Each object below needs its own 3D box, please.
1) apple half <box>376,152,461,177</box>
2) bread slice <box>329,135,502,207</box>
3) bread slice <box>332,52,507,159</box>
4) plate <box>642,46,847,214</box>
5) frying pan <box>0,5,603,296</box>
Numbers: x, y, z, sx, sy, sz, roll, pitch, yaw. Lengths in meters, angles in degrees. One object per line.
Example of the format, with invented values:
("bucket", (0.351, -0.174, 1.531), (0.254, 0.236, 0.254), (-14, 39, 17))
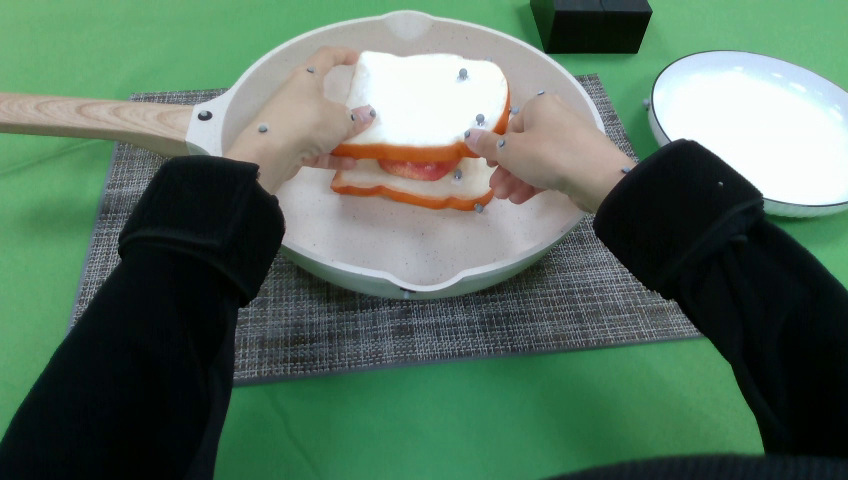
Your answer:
("apple half", (-0.005, -0.087, 0.493), (0.081, 0.033, 0.080), (1, 52, -1))
("bread slice", (-0.002, -0.073, 0.509), (0.134, 0.018, 0.106), (7, 54, 1))
("bread slice", (-0.001, -0.109, 0.475), (0.131, 0.019, 0.104), (2, 58, 13))
("plate", (0.298, -0.099, 0.548), (0.208, 0.039, 0.205), (2, 52, -2))
("frying pan", (-0.114, -0.082, 0.460), (0.489, 0.103, 0.303), (5, 51, -10))
